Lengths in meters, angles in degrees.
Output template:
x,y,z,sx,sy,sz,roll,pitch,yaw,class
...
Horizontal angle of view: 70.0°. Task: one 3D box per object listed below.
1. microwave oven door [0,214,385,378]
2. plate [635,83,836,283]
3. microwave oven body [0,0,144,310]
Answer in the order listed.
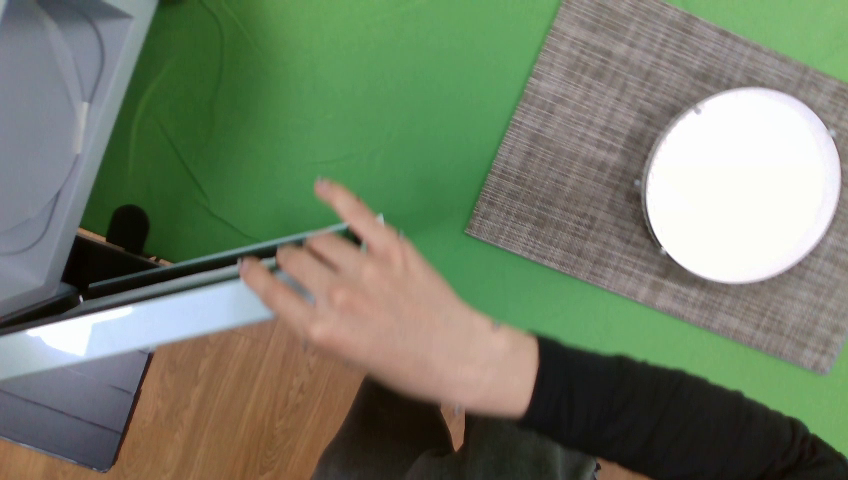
x,y,z,sx,sy,sz,roll,pitch,yaw,class
-0.215,0.045,0.525,0.356,0.243,0.039,-13,98,0,microwave oven door
0.325,-0.059,0.645,0.209,0.038,0.209,0,99,-2,plate
-0.431,-0.166,0.490,0.327,0.259,0.442,22,98,-6,microwave oven body
